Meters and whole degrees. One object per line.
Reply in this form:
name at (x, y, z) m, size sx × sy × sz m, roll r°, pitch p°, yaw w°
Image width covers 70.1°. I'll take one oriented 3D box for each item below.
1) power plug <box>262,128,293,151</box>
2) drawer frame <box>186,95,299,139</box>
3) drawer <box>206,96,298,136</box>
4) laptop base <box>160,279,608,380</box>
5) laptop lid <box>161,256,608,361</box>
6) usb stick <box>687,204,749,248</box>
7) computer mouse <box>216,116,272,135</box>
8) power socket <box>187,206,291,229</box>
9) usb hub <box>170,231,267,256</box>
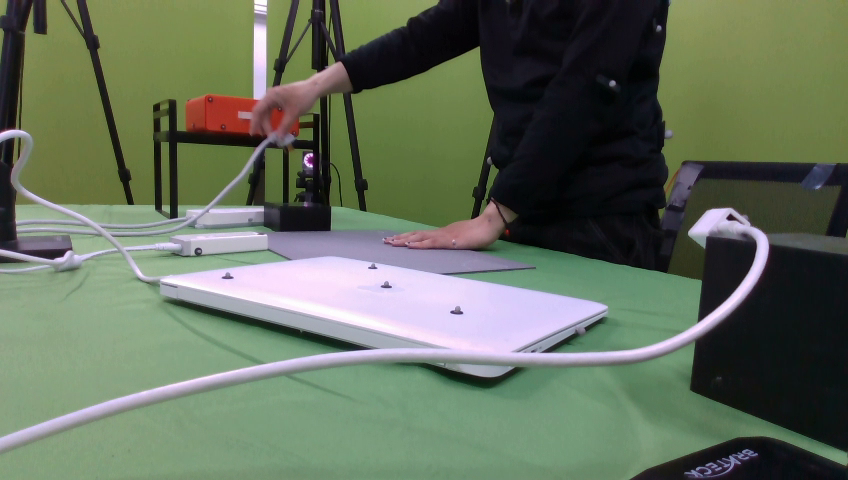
power plug at (-0.290, -0.191, 1.192) m, size 0.035 × 0.053 × 0.073 m, roll 1°, pitch 37°, yaw 43°
drawer frame at (-0.417, -0.277, 1.378) m, size 0.203 × 0.082 × 0.212 m, roll -3°, pitch 8°, yaw -32°
drawer at (-0.414, -0.276, 1.376) m, size 0.195 × 0.073 × 0.210 m, roll -3°, pitch 9°, yaw -31°
laptop base at (-0.039, 0.059, 0.555) m, size 0.352 × 0.023 × 0.237 m, roll 8°, pitch 7°, yaw 33°
laptop lid at (-0.037, 0.046, 0.556) m, size 0.355 × 0.013 × 0.243 m, roll 8°, pitch 8°, yaw 35°
usb stick at (0.214, -0.010, 0.448) m, size 0.021 × 0.027 × 0.059 m, roll 39°, pitch 2°, yaw 6°
computer mouse at (-0.402, -0.257, 1.353) m, size 0.118 × 0.041 × 0.062 m, roll -5°, pitch 14°, yaw -35°
power socket at (-0.363, -0.048, 1.208) m, size 0.072 × 0.032 × 0.228 m, roll 6°, pitch 9°, yaw 35°
usb hub at (-0.290, 0.004, 0.862) m, size 0.049 × 0.025 × 0.126 m, roll 10°, pitch 11°, yaw 42°
